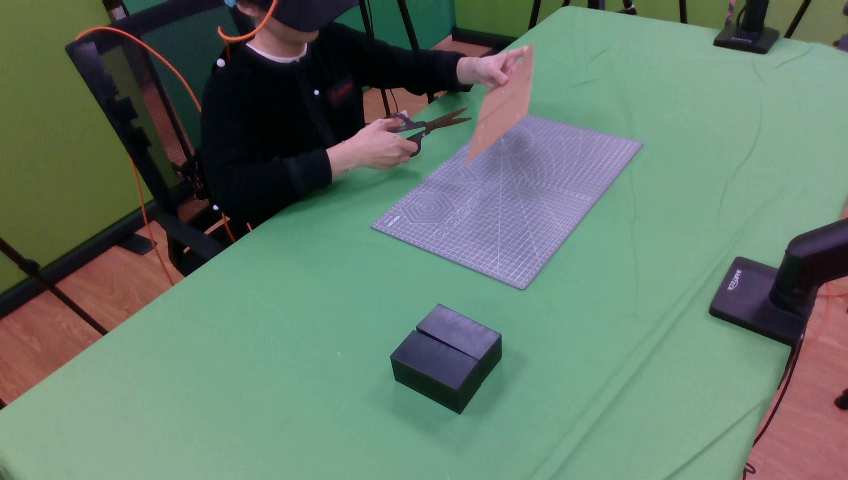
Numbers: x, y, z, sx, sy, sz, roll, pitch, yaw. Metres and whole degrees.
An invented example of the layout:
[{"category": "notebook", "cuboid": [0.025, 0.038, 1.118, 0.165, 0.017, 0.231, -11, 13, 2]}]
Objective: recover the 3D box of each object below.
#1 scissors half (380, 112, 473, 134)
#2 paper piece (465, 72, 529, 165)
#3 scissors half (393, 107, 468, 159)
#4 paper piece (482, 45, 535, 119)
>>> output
[{"category": "scissors half", "cuboid": [0.003, -0.214, 1.097, 0.174, 0.040, 0.013, 1, 35, 14]}, {"category": "paper piece", "cuboid": [0.121, -0.199, 0.989, 0.009, 0.135, 0.138, 35, 40, -15]}, {"category": "scissors half", "cuboid": [0.012, -0.195, 1.108, 0.174, 0.040, 0.013, -31, 27, 32]}, {"category": "paper piece", "cuboid": [0.150, -0.280, 1.091, 0.004, 0.135, 0.135, 35, 39, -16]}]
